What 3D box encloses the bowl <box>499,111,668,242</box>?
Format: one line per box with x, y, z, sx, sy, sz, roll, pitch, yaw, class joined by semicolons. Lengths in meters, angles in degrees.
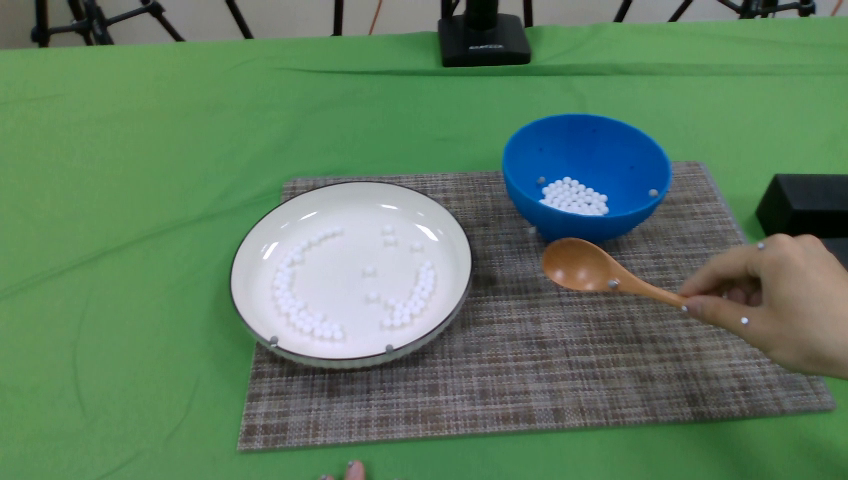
0.143;-0.047;0.573;0.151;0.077;0.150;0;46;1;bowl

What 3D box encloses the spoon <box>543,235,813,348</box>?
0.181;0.041;0.450;0.192;0.042;0.022;22;11;25;spoon

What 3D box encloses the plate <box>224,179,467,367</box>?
-0.066;0.027;0.535;0.208;0.039;0.205;0;46;1;plate
